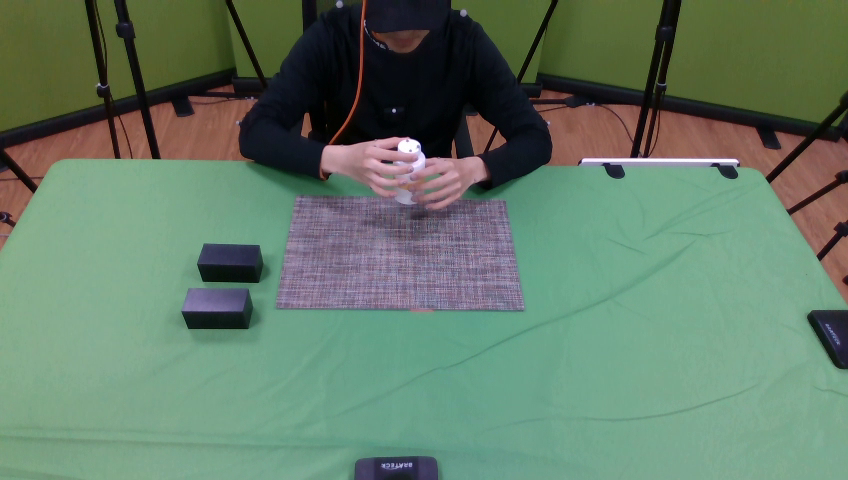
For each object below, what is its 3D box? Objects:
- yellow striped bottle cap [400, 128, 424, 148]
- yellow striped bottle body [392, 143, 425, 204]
[{"bbox_3d":[-0.023,-0.189,1.127,0.044,0.019,0.044,0,38,0],"label":"yellow striped bottle cap"},{"bbox_3d":[-0.031,-0.134,1.179,0.063,0.121,0.062,2,45,-2],"label":"yellow striped bottle body"}]
